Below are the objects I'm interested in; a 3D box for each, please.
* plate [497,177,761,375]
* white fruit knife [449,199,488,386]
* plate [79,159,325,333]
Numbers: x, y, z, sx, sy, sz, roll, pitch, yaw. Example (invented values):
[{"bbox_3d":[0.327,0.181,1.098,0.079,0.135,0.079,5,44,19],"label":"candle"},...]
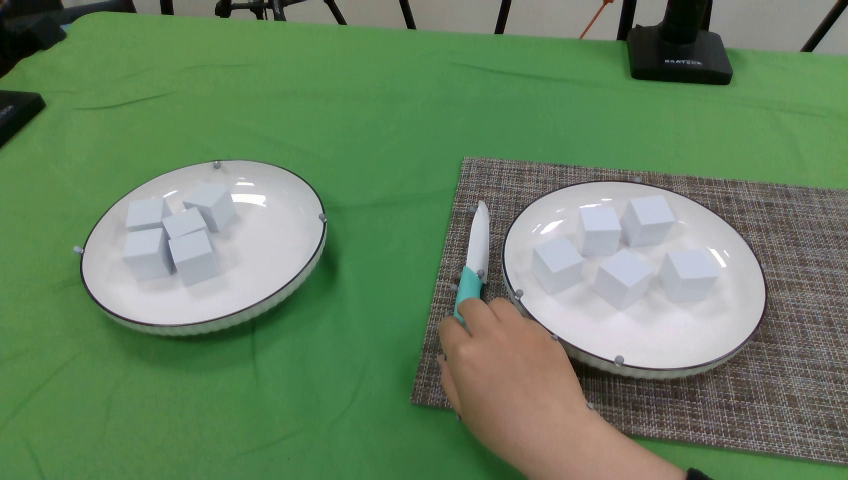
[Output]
[{"bbox_3d":[0.165,0.027,0.508,0.208,0.039,0.205,-1,46,1],"label":"plate"},{"bbox_3d":[0.042,0.032,0.523,0.027,0.016,0.205,25,43,-14],"label":"white fruit knife"},{"bbox_3d":[-0.192,0.004,0.545,0.209,0.038,0.207,0,45,1],"label":"plate"}]
